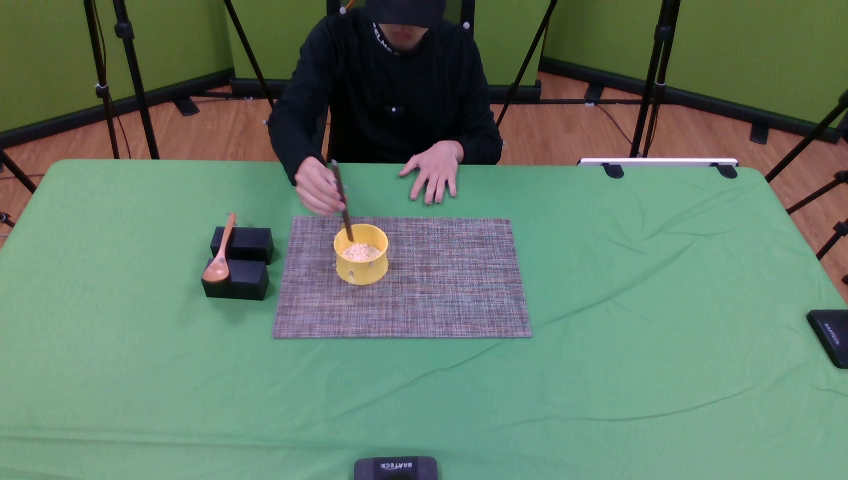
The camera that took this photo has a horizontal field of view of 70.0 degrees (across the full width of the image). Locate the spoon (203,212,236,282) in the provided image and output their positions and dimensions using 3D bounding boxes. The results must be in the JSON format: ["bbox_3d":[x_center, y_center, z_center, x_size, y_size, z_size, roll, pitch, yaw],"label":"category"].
[{"bbox_3d":[-0.361,0.009,1.097,0.041,0.022,0.192,0,44,-3],"label":"spoon"}]

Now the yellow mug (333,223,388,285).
[{"bbox_3d":[-0.126,0.016,1.139,0.100,0.064,0.130,-24,51,-24],"label":"yellow mug"}]

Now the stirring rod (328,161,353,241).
[{"bbox_3d":[-0.141,-0.063,1.038,0.014,0.177,0.006,25,52,29],"label":"stirring rod"}]
